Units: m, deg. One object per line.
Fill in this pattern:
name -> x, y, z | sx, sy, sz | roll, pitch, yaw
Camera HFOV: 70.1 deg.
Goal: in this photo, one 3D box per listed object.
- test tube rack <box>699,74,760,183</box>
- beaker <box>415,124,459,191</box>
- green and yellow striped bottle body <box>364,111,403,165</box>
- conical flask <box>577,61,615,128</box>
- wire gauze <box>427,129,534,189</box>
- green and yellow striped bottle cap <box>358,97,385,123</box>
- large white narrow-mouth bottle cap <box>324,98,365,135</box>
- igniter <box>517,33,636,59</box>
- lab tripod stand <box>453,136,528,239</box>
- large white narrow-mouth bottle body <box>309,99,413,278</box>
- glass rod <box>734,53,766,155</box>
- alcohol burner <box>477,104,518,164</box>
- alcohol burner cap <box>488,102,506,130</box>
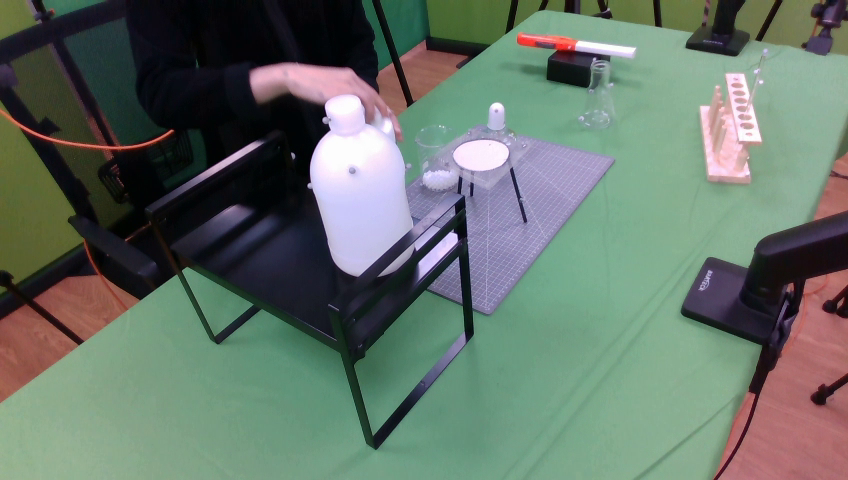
test tube rack -> 0.547, -0.208, 1.095 | 0.066, 0.085, 0.242 | 6, 42, 16
beaker -> 0.027, -0.147, 1.081 | 0.073, 0.100, 0.084 | 13, 43, 21
green and yellow striped bottle body -> -0.074, -0.153, 0.929 | 0.063, 0.120, 0.063 | -6, 46, 7
conical flask -> 0.343, -0.288, 1.188 | 0.075, 0.122, 0.075 | -4, 41, 4
wire gauze -> 0.086, -0.131, 0.924 | 0.124, 0.011, 0.122 | 26, 52, 33
green and yellow striped bottle cap -> -0.082, -0.192, 0.890 | 0.045, 0.020, 0.045 | -4, 42, 4
large white narrow-mouth bottle cap -> -0.076, -0.120, 0.585 | 0.038, 0.024, 0.037 | -3, 42, 3
igniter -> 0.336, -0.441, 1.369 | 0.275, 0.025, 0.057 | 16, 41, 23
lab tripod stand -> 0.095, -0.086, 0.974 | 0.148, 0.132, 0.147 | -4, 43, 4
large white narrow-mouth bottle body -> -0.068, -0.057, 0.644 | 0.102, 0.195, 0.101 | -3, 42, 4
glass rod -> 0.540, -0.220, 1.007 | 0.008, 0.201, 0.008 | -5, 46, 6
alcohol burner -> 0.135, -0.200, 1.117 | 0.078, 0.119, 0.077 | -4, 43, 4
alcohol burner cap -> 0.133, -0.227, 1.092 | 0.034, 0.048, 0.033 | -1, 47, 2
